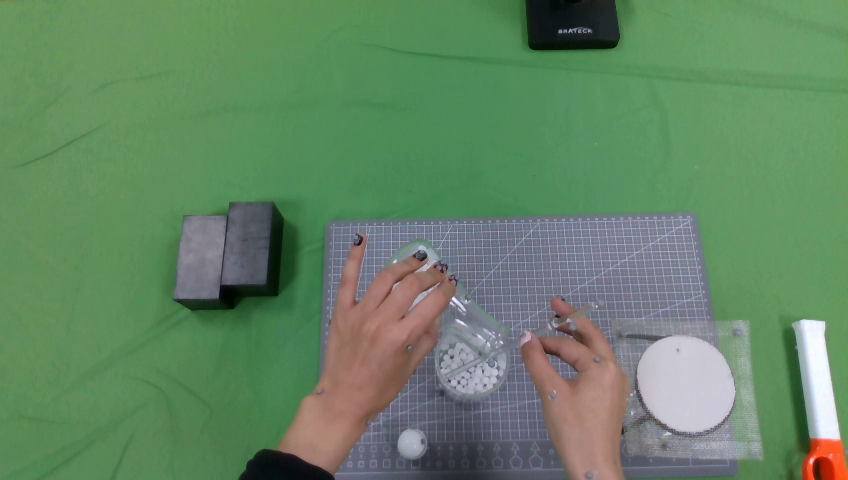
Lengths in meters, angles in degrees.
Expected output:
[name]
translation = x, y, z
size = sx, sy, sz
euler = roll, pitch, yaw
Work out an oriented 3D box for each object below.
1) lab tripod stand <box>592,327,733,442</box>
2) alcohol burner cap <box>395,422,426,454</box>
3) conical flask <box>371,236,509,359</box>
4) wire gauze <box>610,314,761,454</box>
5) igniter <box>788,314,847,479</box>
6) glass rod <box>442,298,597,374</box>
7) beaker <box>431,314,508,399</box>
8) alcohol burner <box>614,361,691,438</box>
[lab tripod stand]
translation = 0.234, 0.150, 0.606
size = 0.148, 0.132, 0.147
euler = 0, 73, 1
[alcohol burner cap]
translation = -0.015, 0.208, 0.638
size = 0.034, 0.048, 0.033
euler = 0, 72, 1
[conical flask]
translation = 0.018, 0.056, 0.549
size = 0.121, 0.076, 0.075
euler = 36, 75, 20
[wire gauze]
translation = 0.233, 0.126, 0.542
size = 0.125, 0.011, 0.120
euler = 1, 73, 2
[igniter]
translation = 0.420, 0.216, 0.640
size = 0.057, 0.025, 0.275
euler = 6, 71, -8
[glass rod]
translation = 0.077, 0.091, 0.542
size = 0.008, 0.200, 0.008
euler = 20, 52, -29
[beaker]
translation = 0.047, 0.125, 0.635
size = 0.074, 0.101, 0.083
euler = 21, 72, 8
[alcohol burner]
translation = 0.236, 0.159, 0.613
size = 0.078, 0.120, 0.077
euler = -1, 71, 3
